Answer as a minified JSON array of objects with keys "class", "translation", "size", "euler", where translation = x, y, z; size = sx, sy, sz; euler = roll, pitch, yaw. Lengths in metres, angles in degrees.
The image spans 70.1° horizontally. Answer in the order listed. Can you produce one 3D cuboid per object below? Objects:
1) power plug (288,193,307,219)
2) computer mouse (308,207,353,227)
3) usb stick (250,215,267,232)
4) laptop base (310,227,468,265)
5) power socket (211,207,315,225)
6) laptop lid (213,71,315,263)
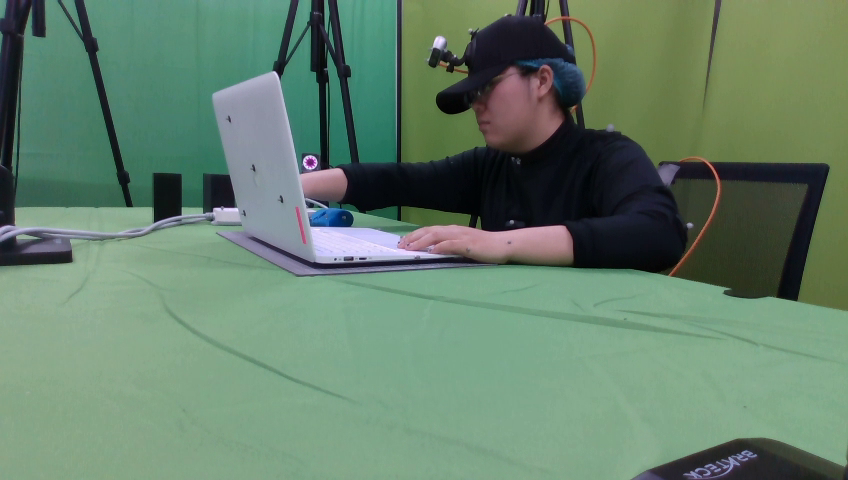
[{"class":"power plug","translation":[-0.282,-0.076,1.341],"size":[0.035,0.052,0.072],"euler":[3,7,-19]},{"class":"computer mouse","translation":[-0.202,-0.046,1.275],"size":[0.062,0.041,0.117],"euler":[9,13,23]},{"class":"usb stick","translation":[-0.296,-0.028,1.082],"size":[0.021,0.027,0.059],"euler":[4,9,-26]},{"class":"laptop base","translation":[-0.122,0.007,0.954],"size":[0.237,0.023,0.352],"euler":[2,6,-31]},{"class":"power socket","translation":[-0.334,-0.052,1.282],"size":[0.228,0.032,0.072],"euler":[-2,9,-28]},{"class":"laptop lid","translation":[-0.241,-0.104,0.865],"size":[0.013,0.241,0.355],"euler":[-16,17,-28]}]
